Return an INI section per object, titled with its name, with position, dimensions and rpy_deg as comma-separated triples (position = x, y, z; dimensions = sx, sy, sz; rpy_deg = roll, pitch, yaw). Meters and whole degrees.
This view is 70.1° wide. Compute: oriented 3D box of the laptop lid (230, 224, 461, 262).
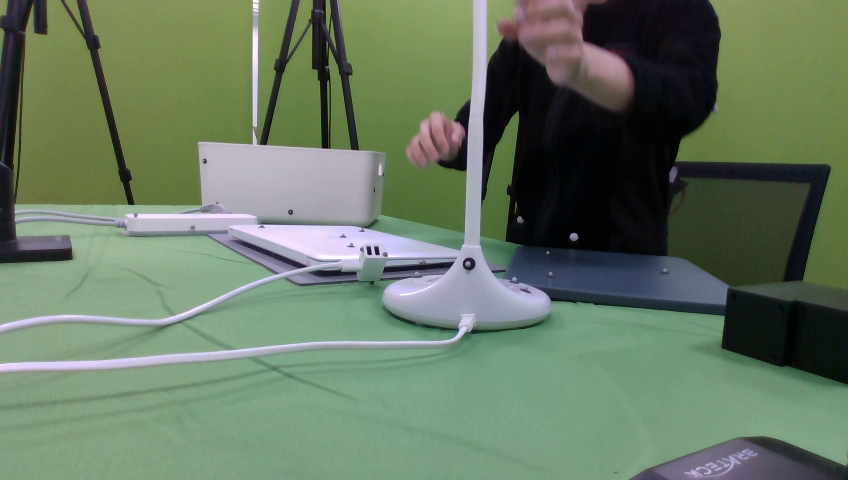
[laptop lid]
position = -0.119, 0.000, 0.889
dimensions = 0.243, 0.013, 0.355
rpy_deg = 1, 7, -33

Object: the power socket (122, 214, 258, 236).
[power socket]
position = -0.398, -0.028, 1.049
dimensions = 0.228, 0.032, 0.072
rpy_deg = -3, 8, -34

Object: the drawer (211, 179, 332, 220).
[drawer]
position = -0.328, -0.095, 1.331
dimensions = 0.212, 0.073, 0.194
rpy_deg = 5, 8, 6

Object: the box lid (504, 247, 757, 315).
[box lid]
position = 0.244, 0.044, 0.793
dimensions = 0.263, 0.015, 0.372
rpy_deg = 4, 7, 11

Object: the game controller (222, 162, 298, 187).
[game controller]
position = -0.357, -0.143, 1.321
dimensions = 0.156, 0.051, 0.097
rpy_deg = 1, 3, -16

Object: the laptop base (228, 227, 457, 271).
[laptop base]
position = -0.122, 0.011, 0.889
dimensions = 0.237, 0.023, 0.352
rpy_deg = 2, 6, -35

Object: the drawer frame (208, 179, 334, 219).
[drawer frame]
position = -0.326, -0.093, 1.328
dimensions = 0.213, 0.082, 0.202
rpy_deg = -1, 5, 6

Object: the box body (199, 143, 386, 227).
[box body]
position = -0.276, -0.124, 1.335
dimensions = 0.364, 0.160, 0.254
rpy_deg = 3, 7, 1

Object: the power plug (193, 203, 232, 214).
[power plug]
position = -0.394, -0.042, 1.139
dimensions = 0.072, 0.052, 0.035
rpy_deg = -14, 2, 31

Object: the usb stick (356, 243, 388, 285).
[usb stick]
position = -0.058, 0.029, 0.658
dimensions = 0.027, 0.059, 0.021
rpy_deg = -4, 53, -18

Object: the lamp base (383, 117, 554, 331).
[lamp base]
position = 0.045, -0.019, 0.547
dimensions = 0.161, 0.180, 0.179
rpy_deg = 2, 10, -4
